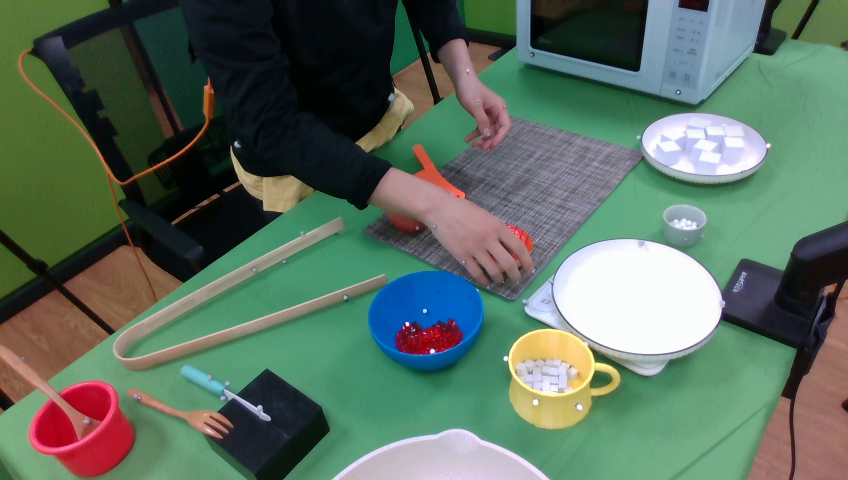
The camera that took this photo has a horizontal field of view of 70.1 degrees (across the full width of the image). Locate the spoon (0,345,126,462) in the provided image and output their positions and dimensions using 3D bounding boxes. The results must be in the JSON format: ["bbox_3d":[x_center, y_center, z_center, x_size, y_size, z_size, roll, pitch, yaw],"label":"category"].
[{"bbox_3d":[-0.434,0.192,0.720,0.194,0.021,0.042,47,53,-7],"label":"spoon"}]

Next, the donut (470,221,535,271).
[{"bbox_3d":[0.119,0.008,0.923,0.099,0.048,0.098,-4,39,4],"label":"donut"}]

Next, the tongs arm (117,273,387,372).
[{"bbox_3d":[-0.236,0.116,0.870,0.389,0.028,0.028,-18,49,-12],"label":"tongs arm"}]

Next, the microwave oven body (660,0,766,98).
[{"bbox_3d":[0.472,-0.513,1.317,0.438,0.261,0.327,26,51,34],"label":"microwave oven body"}]

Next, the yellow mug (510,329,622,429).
[{"bbox_3d":[0.168,0.164,0.721,0.130,0.064,0.099,0,40,8],"label":"yellow mug"}]

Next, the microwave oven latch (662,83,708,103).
[{"bbox_3d":[0.517,-0.296,1.204,0.078,0.029,0.030,28,52,35],"label":"microwave oven latch"}]

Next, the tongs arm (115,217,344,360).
[{"bbox_3d":[-0.280,0.068,0.927,0.386,0.026,0.050,-29,49,-23],"label":"tongs arm"}]

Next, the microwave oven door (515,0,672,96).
[{"bbox_3d":[0.343,-0.455,1.259,0.353,0.245,0.039,26,51,33],"label":"microwave oven door"}]

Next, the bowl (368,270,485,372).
[{"bbox_3d":[0.007,0.119,0.791,0.151,0.077,0.150,-4,40,4],"label":"bowl"}]

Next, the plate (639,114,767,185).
[{"bbox_3d":[0.489,-0.157,1.074,0.207,0.039,0.206,-4,40,4],"label":"plate"}]

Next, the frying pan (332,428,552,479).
[{"bbox_3d":[-0.089,0.306,0.564,0.487,0.103,0.306,10,41,7],"label":"frying pan"}]

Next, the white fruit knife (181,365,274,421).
[{"bbox_3d":[-0.245,0.187,0.747,0.205,0.027,0.016,9,40,41],"label":"white fruit knife"}]

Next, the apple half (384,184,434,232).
[{"bbox_3d":[-0.022,-0.046,0.987,0.081,0.075,0.053,-8,44,-6],"label":"apple half"}]

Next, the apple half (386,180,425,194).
[{"bbox_3d":[-0.028,-0.071,1.015,0.081,0.081,0.032,-10,44,-2],"label":"apple half"}]

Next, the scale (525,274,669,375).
[{"bbox_3d":[0.254,0.092,0.821,0.199,0.032,0.149,28,51,35],"label":"scale"}]

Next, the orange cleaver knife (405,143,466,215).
[{"bbox_3d":[0.005,-0.113,1.102,0.077,0.012,0.209,-23,45,-10],"label":"orange cleaver knife"}]

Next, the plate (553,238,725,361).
[{"bbox_3d":[0.273,0.078,0.783,0.209,0.038,0.208,-4,41,4],"label":"plate"}]

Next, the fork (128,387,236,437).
[{"bbox_3d":[-0.305,0.207,0.744,0.206,0.019,0.028,3,41,36],"label":"fork"}]

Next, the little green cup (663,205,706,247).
[{"bbox_3d":[0.396,-0.020,0.926,0.061,0.039,0.061,-4,40,4],"label":"little green cup"}]
